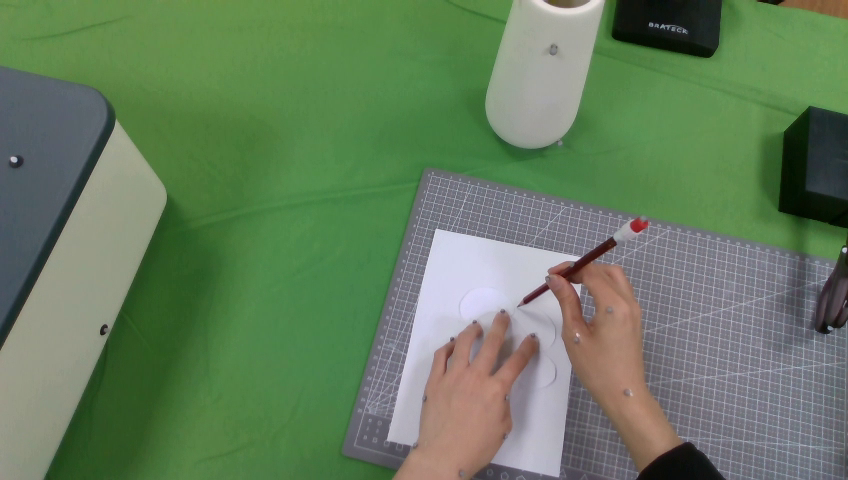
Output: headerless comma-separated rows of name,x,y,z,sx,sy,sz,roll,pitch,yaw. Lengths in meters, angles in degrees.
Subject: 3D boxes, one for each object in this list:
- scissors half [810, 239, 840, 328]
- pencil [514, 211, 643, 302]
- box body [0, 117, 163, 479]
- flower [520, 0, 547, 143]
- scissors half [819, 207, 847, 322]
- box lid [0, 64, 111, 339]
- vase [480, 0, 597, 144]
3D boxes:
scissors half,0.400,0.001,0.582,0.012,0.040,0.175,18,88,21
pencil,0.119,0.022,0.507,0.012,0.194,0.012,8,64,-17
box body,-0.418,0.043,0.510,0.254,0.161,0.362,13,70,4
flower,0.104,-0.220,0.506,0.044,0.365,0.038,7,51,6
scissors half,0.395,-0.005,0.563,0.013,0.040,0.174,18,71,16
box lid,-0.417,0.014,0.440,0.263,0.015,0.369,14,70,4
vase,0.107,-0.177,0.579,0.098,0.201,0.097,0,68,1
